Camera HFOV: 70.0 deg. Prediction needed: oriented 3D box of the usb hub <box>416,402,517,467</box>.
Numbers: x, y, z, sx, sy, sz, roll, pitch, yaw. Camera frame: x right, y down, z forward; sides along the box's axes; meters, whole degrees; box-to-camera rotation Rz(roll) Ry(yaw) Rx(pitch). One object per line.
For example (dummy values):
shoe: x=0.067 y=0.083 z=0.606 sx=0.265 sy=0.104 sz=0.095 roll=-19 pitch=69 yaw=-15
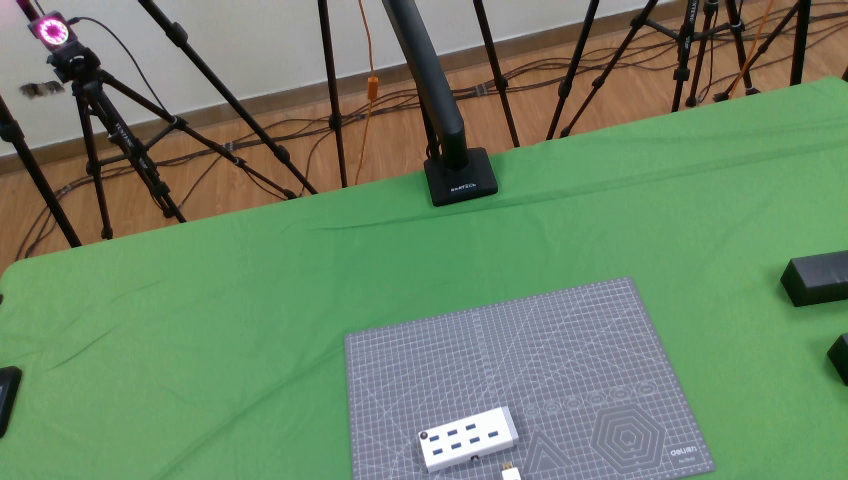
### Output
usb hub: x=0.055 y=0.255 z=0.798 sx=0.125 sy=0.025 sz=0.049 roll=-16 pitch=51 yaw=-3

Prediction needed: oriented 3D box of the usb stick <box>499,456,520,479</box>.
usb stick: x=0.108 y=0.297 z=0.755 sx=0.021 sy=0.027 sz=0.058 roll=-18 pitch=48 yaw=1
